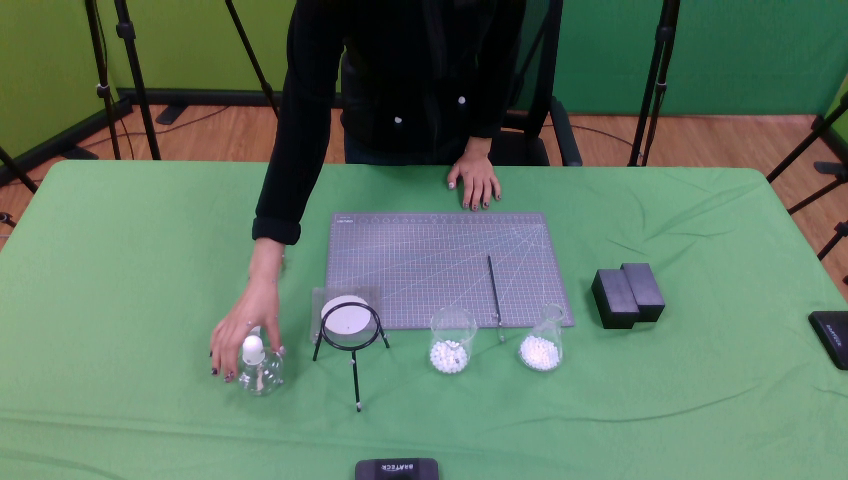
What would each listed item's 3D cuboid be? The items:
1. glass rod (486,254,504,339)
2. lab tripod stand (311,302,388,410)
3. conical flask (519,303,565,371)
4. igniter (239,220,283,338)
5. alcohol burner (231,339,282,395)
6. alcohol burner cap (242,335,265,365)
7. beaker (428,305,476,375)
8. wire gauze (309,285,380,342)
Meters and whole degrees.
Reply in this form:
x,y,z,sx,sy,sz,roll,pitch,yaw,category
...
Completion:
x,y,z,sx,sy,sz,roll,pitch,yaw,category
0.129,0.099,1.119,0.008,0.008,0.198,-1,46,-4,glass rod
-0.113,0.168,0.951,0.148,0.132,0.147,2,44,-2,lab tripod stand
0.201,0.155,0.997,0.075,0.122,0.075,2,46,-2,conical flask
-0.298,0.061,1.113,0.057,0.025,0.274,-5,46,4,igniter
-0.260,0.187,0.935,0.078,0.119,0.077,3,44,-3,alcohol burner
-0.257,0.163,0.908,0.034,0.048,0.033,5,48,-6,alcohol burner cap
0.044,0.169,0.987,0.074,0.101,0.083,1,47,-2,beaker
-0.141,0.128,1.071,0.125,0.011,0.120,-1,46,-5,wire gauze
